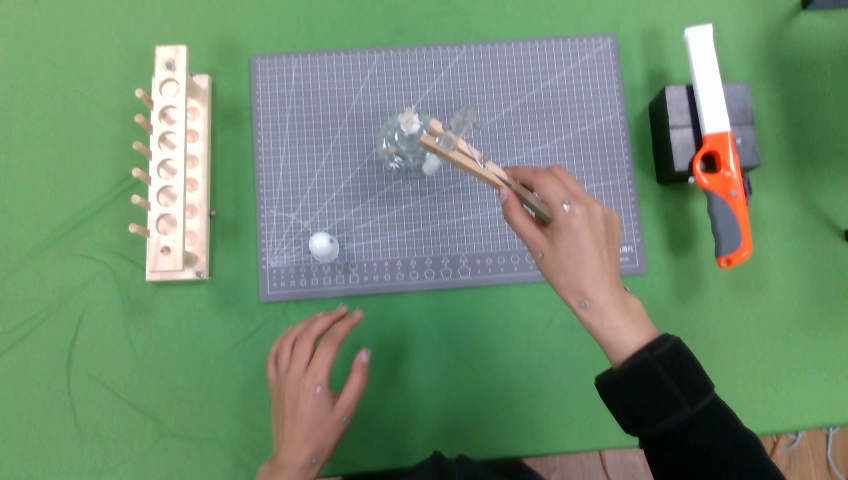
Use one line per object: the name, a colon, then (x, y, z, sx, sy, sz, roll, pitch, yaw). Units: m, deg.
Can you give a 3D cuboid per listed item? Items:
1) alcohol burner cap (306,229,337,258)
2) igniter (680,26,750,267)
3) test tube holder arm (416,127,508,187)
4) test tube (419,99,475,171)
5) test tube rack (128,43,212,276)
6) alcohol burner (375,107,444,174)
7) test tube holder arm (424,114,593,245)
alcohol burner cap: (-0.117, 0.002, 0.682, 0.034, 0.048, 0.033, 0, 81, -3)
igniter: (0.324, -0.107, 0.679, 0.057, 0.025, 0.275, -6, 80, 9)
test tube holder arm: (0.034, -0.070, 0.519, 0.088, 0.015, 0.010, 28, 79, -7)
test tube: (0.016, -0.085, 0.519, 0.017, 0.150, 0.017, 2, 80, -11)
test tube rack: (-0.284, -0.085, 0.671, 0.067, 0.085, 0.241, -2, 81, -2)
alcohol burner: (-0.016, -0.114, 0.668, 0.078, 0.119, 0.077, 0, 82, -1)
test tube holder arm: (0.075, -0.051, 0.525, 0.179, 0.015, 0.013, 35, 79, -6)
